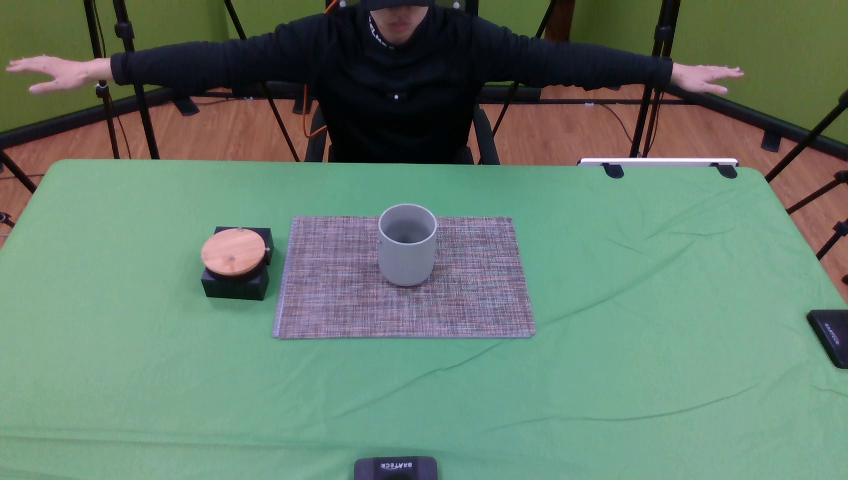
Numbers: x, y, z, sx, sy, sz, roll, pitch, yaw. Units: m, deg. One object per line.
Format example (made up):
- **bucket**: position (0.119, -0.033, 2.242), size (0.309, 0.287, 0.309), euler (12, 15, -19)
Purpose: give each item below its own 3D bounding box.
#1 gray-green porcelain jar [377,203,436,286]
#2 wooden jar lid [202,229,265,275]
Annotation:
- **gray-green porcelain jar**: position (-0.033, 0.014, 1.106), size (0.106, 0.127, 0.105), euler (2, 46, -2)
- **wooden jar lid**: position (-0.340, 0.023, 1.084), size (0.108, 0.021, 0.107), euler (3, 45, -2)
